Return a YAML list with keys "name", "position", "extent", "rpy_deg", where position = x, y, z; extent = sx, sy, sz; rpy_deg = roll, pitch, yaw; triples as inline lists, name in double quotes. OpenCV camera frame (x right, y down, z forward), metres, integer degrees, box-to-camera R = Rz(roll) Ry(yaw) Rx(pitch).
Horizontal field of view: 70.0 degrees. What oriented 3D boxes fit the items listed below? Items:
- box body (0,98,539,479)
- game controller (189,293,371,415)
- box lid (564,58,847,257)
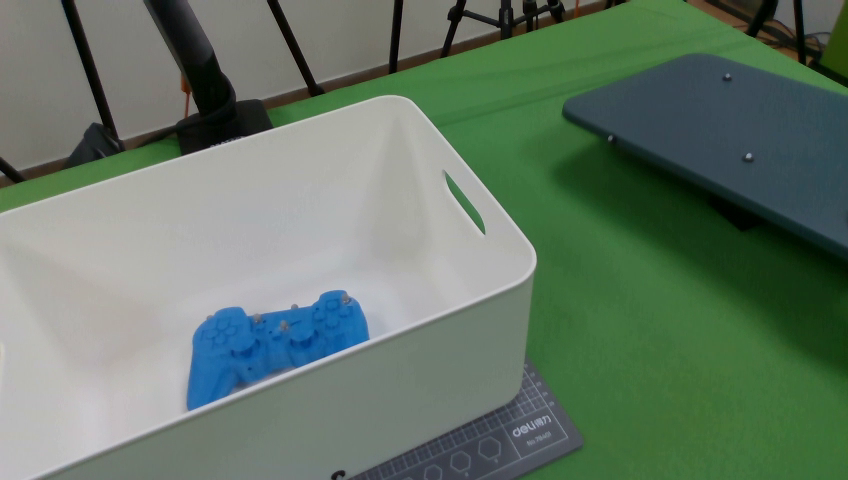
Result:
- name: "box body"
  position: [-0.124, 0.059, 0.473]
  extent: [0.364, 0.162, 0.251]
  rpy_deg: [-20, 45, -13]
- name: "game controller"
  position: [-0.120, 0.092, 0.514]
  extent: [0.155, 0.052, 0.096]
  rpy_deg: [-8, 39, -1]
- name: "box lid"
  position: [0.352, -0.102, 0.608]
  extent: [0.264, 0.015, 0.367]
  rpy_deg: [-24, 42, -26]
